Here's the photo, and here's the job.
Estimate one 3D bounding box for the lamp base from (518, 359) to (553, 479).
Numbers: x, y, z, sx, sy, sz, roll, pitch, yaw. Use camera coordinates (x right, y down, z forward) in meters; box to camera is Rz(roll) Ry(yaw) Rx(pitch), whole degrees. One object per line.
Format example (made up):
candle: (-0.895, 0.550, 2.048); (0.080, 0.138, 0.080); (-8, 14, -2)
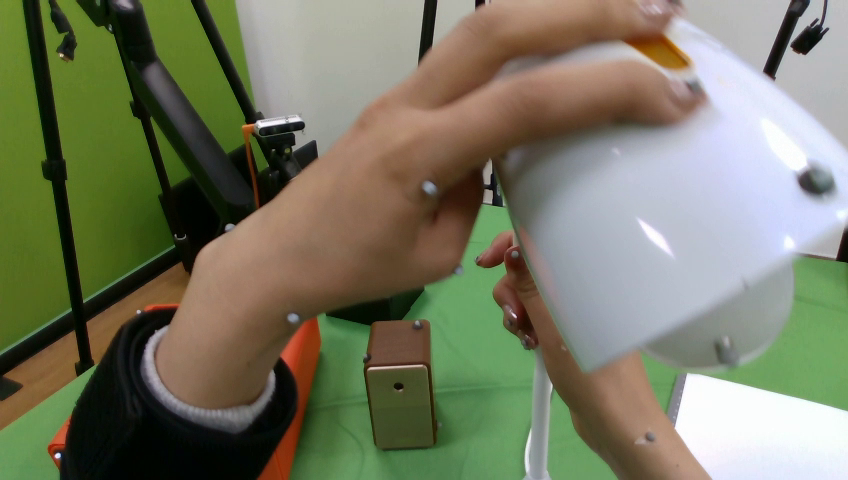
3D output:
lamp base: (0.082, 0.187, 0.418); (0.161, 0.181, 0.178); (-4, 23, -1)

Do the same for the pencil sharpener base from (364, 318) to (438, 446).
pencil sharpener base: (-0.020, 0.139, 0.597); (0.061, 0.108, 0.076); (-3, 29, 2)

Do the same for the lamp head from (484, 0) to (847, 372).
lamp head: (0.076, -0.027, 0.227); (0.112, 0.113, 0.122); (-21, 67, -27)

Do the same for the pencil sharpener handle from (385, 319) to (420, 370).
pencil sharpener handle: (-0.022, 0.103, 0.635); (0.036, 0.068, 0.030); (1, 29, 0)

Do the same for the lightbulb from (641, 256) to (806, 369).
lightbulb: (0.088, -0.008, 0.212); (0.059, 0.107, 0.060); (-17, -13, -4)

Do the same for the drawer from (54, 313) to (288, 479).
drawer: (-0.222, 0.155, 0.625); (0.194, 0.074, 0.210); (-3, 28, 2)

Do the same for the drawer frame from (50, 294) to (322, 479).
drawer frame: (-0.224, 0.151, 0.626); (0.202, 0.083, 0.211); (-4, 28, 2)

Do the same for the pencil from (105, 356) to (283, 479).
pencil: (-0.221, 0.173, 0.599); (0.194, 0.012, 0.012); (-35, 40, -25)
